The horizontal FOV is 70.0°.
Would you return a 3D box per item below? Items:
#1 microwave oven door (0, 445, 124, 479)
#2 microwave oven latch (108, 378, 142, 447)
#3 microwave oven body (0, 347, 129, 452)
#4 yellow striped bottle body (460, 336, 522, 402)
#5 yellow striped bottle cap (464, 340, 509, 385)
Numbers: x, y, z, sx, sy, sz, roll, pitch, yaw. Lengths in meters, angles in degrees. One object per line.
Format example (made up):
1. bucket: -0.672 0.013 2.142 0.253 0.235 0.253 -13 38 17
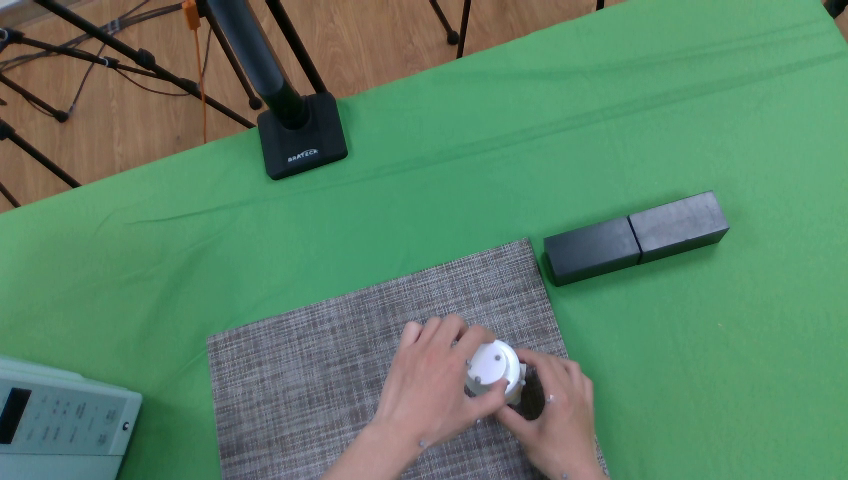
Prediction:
1. microwave oven door: -0.458 0.389 0.614 0.039 0.246 0.354 9 73 15
2. microwave oven latch: -0.387 0.219 0.769 0.030 0.030 0.079 12 74 14
3. microwave oven body: -0.587 0.329 0.666 0.325 0.262 0.439 9 74 14
4. yellow striped bottle body: 0.075 0.144 0.673 0.062 0.121 0.062 -4 70 10
5. yellow striped bottle cap: 0.064 0.125 0.620 0.044 0.019 0.044 -8 67 19
